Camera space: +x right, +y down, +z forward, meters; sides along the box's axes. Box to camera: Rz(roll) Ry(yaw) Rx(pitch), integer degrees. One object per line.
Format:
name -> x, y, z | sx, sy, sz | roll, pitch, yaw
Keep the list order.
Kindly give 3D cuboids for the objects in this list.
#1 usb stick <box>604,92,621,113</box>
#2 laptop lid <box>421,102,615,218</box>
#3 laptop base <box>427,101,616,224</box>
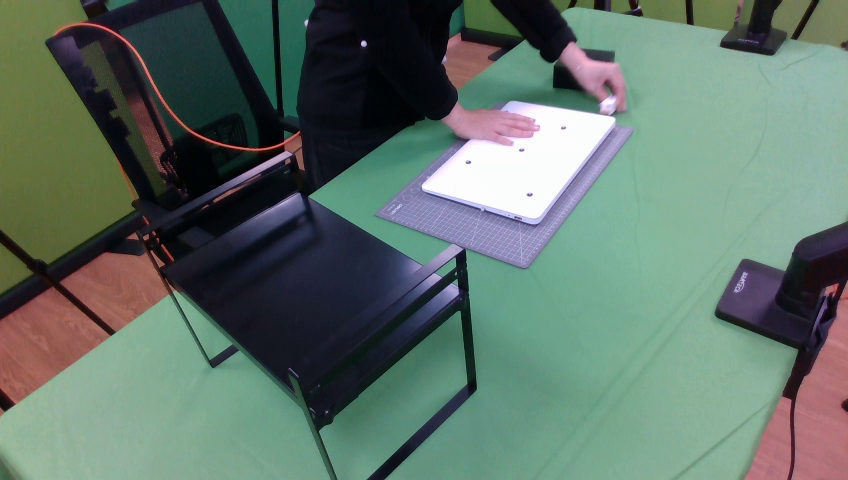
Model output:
usb stick -> 0.380, -0.277, 1.224 | 0.021, 0.027, 0.059 | 13, 42, 30
laptop lid -> 0.182, -0.165, 1.127 | 0.240, 0.013, 0.357 | 19, 46, 31
laptop base -> 0.185, -0.158, 1.132 | 0.234, 0.023, 0.355 | 17, 46, 30
